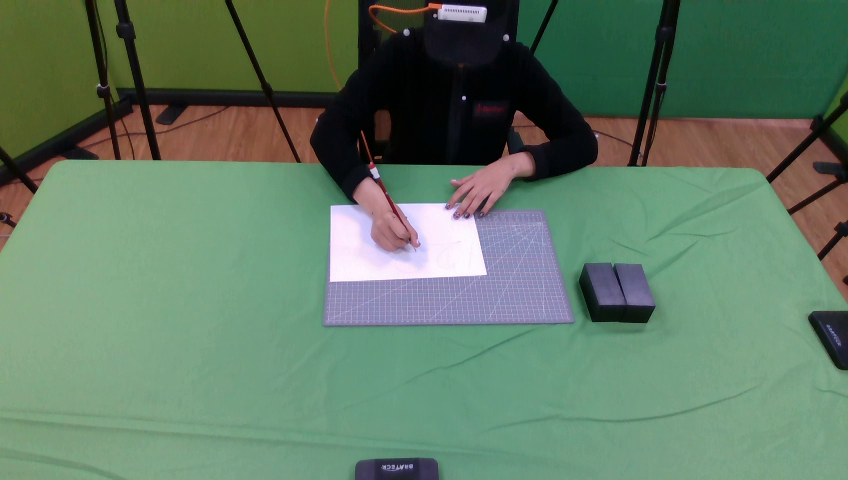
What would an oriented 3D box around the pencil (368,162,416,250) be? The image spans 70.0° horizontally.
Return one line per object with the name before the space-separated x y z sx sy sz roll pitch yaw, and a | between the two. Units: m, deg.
pencil | -0.058 -0.061 1.154 0.012 0.195 0.012 -24 20 9
